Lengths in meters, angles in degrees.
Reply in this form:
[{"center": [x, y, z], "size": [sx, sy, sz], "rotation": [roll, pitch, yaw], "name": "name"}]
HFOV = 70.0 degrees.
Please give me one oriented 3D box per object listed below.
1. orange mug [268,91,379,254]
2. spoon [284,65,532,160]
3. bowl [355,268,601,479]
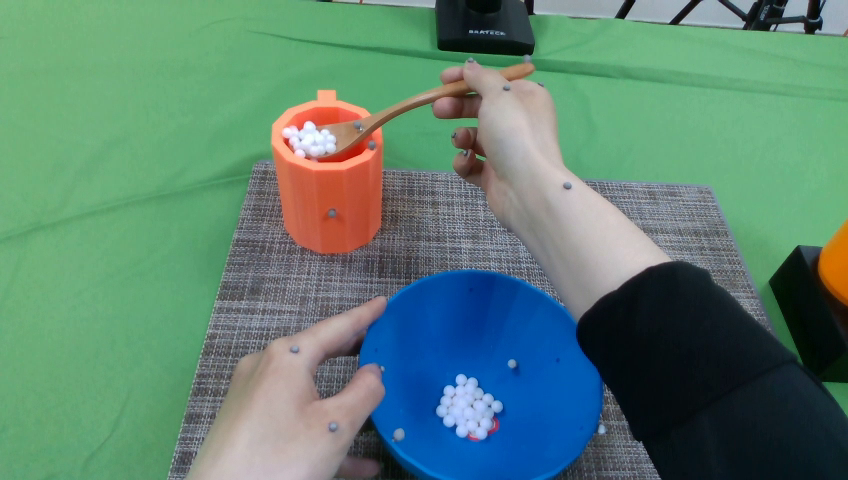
[{"center": [-0.084, -0.065, 0.515], "size": [0.083, 0.101, 0.125], "rotation": [-4, 54, -9], "name": "orange mug"}, {"center": [-0.014, -0.098, 0.456], "size": [0.193, 0.022, 0.041], "rotation": [-18, 47, 11], "name": "spoon"}, {"center": [0.030, 0.101, 0.396], "size": [0.151, 0.077, 0.150], "rotation": [4, 49, -4], "name": "bowl"}]
